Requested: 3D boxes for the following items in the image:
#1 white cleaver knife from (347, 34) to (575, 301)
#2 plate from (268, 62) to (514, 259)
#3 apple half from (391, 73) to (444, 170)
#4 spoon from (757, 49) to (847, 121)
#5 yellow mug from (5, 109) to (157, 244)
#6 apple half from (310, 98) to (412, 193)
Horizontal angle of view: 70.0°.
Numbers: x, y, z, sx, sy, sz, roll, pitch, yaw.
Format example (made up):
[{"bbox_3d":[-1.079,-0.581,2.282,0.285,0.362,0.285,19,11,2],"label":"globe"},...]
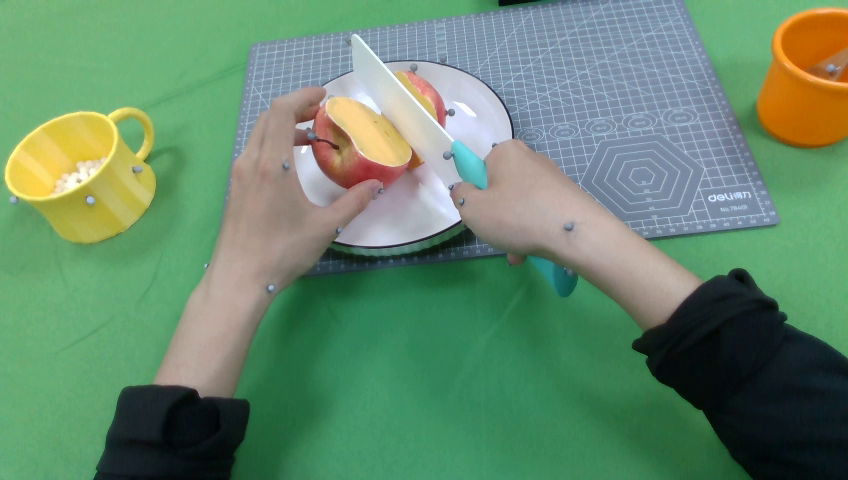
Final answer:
[{"bbox_3d":[0.016,-0.062,0.461,0.021,0.066,0.283,-29,61,-16],"label":"white cleaver knife"},{"bbox_3d":[-0.028,-0.068,0.520,0.209,0.038,0.207,-4,57,6],"label":"plate"},{"bbox_3d":[-0.006,-0.101,0.513,0.033,0.082,0.080,-21,53,-34],"label":"apple half"},{"bbox_3d":[0.346,-0.155,0.456,0.022,0.194,0.041,19,46,-32],"label":"spoon"},{"bbox_3d":[-0.294,-0.067,0.545,0.099,0.064,0.130,25,63,22],"label":"yellow mug"},{"bbox_3d":[-0.055,-0.070,0.495,0.080,0.053,0.075,47,33,11],"label":"apple half"}]
